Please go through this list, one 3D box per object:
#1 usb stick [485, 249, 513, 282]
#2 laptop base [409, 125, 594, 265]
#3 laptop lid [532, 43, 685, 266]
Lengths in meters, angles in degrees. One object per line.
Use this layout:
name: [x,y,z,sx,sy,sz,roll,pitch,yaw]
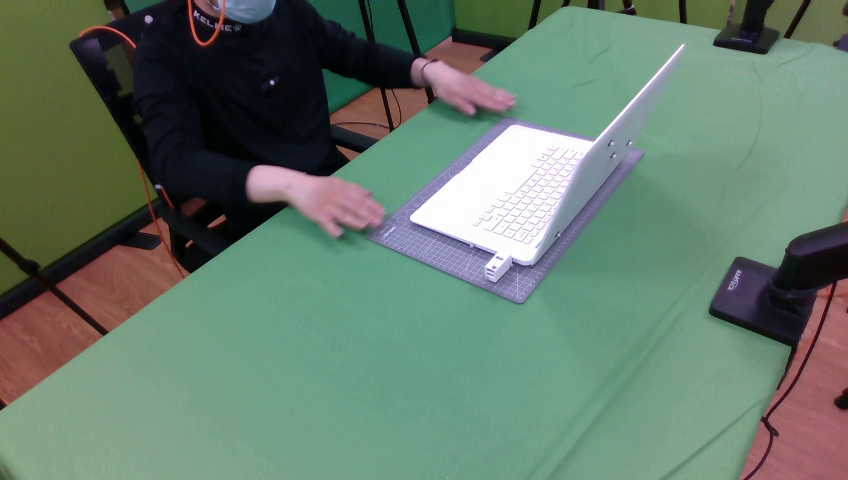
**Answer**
usb stick: [0.115,0.034,0.896,0.021,0.027,0.059,23,47,32]
laptop base: [0.168,-0.094,1.056,0.233,0.023,0.355,19,47,32]
laptop lid: [0.280,-0.130,0.907,0.013,0.242,0.357,34,52,17]
